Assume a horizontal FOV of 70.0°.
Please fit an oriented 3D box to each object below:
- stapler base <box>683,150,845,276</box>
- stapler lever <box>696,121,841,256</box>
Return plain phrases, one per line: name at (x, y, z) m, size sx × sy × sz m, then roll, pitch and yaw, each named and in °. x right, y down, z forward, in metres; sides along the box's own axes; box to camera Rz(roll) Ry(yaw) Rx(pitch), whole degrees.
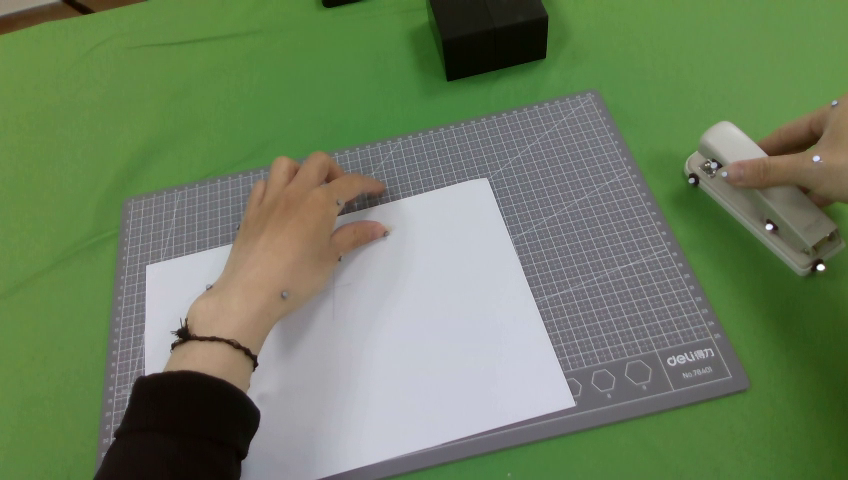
stapler base at (0.256, -0.033, 0.464) m, size 0.041 × 0.025 × 0.129 m, roll -38°, pitch 60°, yaw 5°
stapler lever at (0.248, -0.042, 0.443) m, size 0.027 × 0.040 × 0.117 m, roll -38°, pitch 58°, yaw 5°
